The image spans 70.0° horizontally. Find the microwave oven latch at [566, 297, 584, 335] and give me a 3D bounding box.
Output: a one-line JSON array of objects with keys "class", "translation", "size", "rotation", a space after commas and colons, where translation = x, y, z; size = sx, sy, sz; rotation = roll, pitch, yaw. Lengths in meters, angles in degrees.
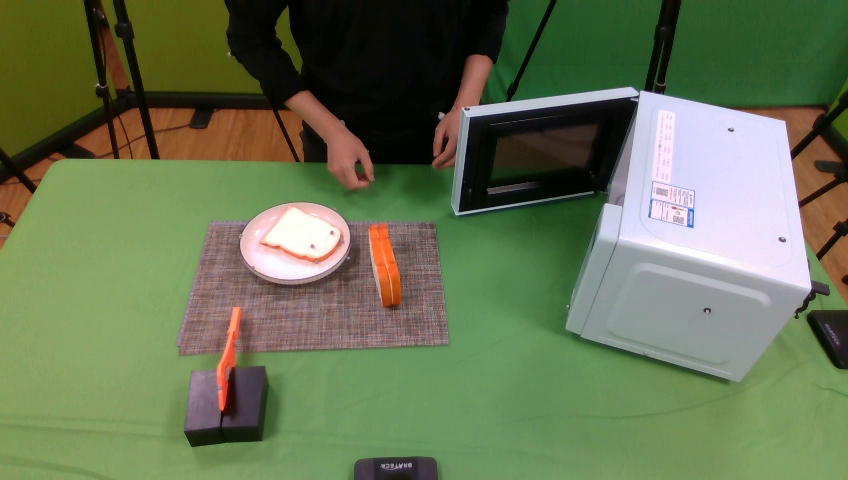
[{"class": "microwave oven latch", "translation": [0.268, 0.126, 1.059], "size": [0.030, 0.029, 0.079], "rotation": [16, 46, 12]}]

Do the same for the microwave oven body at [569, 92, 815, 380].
[{"class": "microwave oven body", "translation": [0.468, -0.022, 1.082], "size": [0.325, 0.261, 0.440], "rotation": [15, 46, 11]}]

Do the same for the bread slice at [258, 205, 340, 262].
[{"class": "bread slice", "translation": [-0.232, -0.009, 1.168], "size": [0.134, 0.018, 0.106], "rotation": [19, 51, 10]}]

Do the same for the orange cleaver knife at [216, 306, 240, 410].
[{"class": "orange cleaver knife", "translation": [-0.307, 0.180, 0.957], "size": [0.012, 0.077, 0.210], "rotation": [-2, 25, -8]}]

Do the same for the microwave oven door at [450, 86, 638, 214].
[{"class": "microwave oven door", "translation": [0.234, -0.177, 1.208], "size": [0.356, 0.245, 0.039], "rotation": [-10, 48, -13]}]

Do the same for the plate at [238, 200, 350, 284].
[{"class": "plate", "translation": [-0.245, 0.007, 1.156], "size": [0.208, 0.039, 0.206], "rotation": [2, 46, -2]}]
